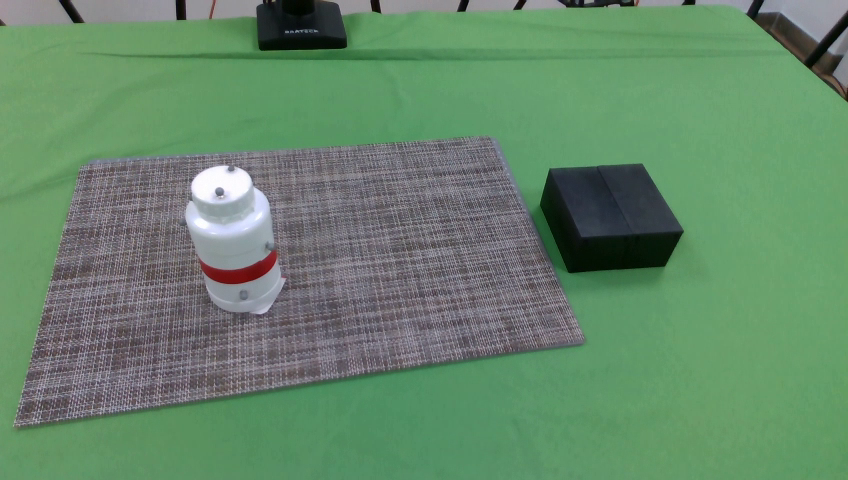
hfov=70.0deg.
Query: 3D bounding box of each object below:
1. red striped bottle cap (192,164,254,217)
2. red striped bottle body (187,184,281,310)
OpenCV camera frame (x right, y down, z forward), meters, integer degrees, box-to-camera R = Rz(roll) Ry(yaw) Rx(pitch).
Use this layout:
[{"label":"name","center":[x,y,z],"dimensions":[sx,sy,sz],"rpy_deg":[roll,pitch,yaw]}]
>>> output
[{"label":"red striped bottle cap","center":[-0.152,-0.038,0.458],"dimensions":[0.044,0.018,0.044],"rpy_deg":[5,46,-5]},{"label":"red striped bottle body","center":[-0.155,-0.001,0.497],"dimensions":[0.063,0.120,0.062],"rpy_deg":[3,47,-3]}]
